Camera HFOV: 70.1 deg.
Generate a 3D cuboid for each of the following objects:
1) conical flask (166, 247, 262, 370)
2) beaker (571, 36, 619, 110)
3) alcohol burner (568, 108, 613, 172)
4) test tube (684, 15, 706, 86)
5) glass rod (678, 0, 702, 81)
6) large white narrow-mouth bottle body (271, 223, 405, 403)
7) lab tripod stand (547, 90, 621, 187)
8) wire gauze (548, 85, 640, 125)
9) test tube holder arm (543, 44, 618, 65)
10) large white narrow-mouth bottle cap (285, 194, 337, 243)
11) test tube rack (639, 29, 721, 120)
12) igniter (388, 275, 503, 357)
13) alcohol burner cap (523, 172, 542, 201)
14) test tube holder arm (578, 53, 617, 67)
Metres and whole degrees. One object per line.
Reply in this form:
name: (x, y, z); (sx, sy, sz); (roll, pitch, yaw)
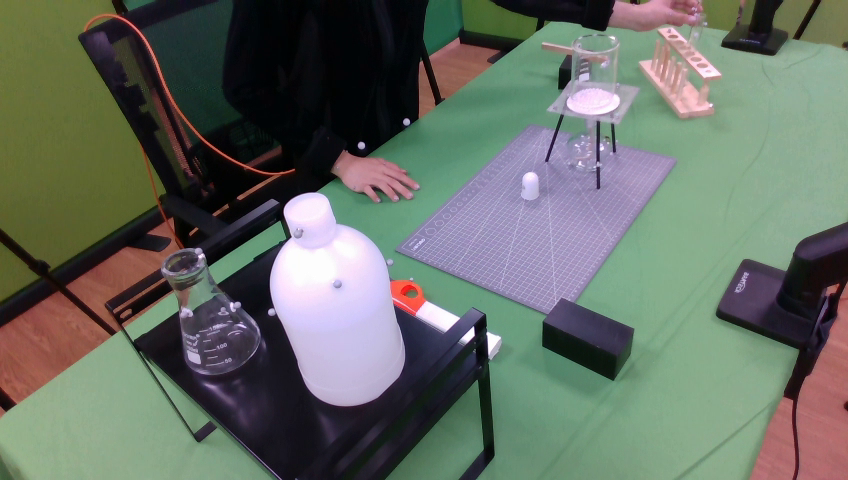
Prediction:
conical flask: (-0.209, 0.064, 0.585); (0.075, 0.122, 0.075); (-4, 41, 4)
beaker: (0.281, -0.273, 0.992); (0.084, 0.101, 0.073); (-24, 42, -16)
alcohol burner: (0.296, -0.182, 1.074); (0.078, 0.119, 0.077); (-5, 43, 5)
test tube: (0.541, -0.378, 1.215); (0.017, 0.151, 0.017); (-2, 44, 3)
glass rod: (0.543, -0.417, 1.233); (0.008, 0.200, 0.008); (1, 40, 0)
large white narrow-mouth bottle body: (-0.077, 0.048, 0.525); (0.102, 0.195, 0.101); (-5, 40, 5)
lab tripod stand: (0.289, -0.184, 1.062); (0.148, 0.132, 0.147); (-6, 41, 6)
wire gauze: (0.286, -0.233, 1.020); (0.124, 0.011, 0.122); (15, 43, 30)
test tube holder arm: (0.344, -0.412, 1.340); (0.177, 0.015, 0.013); (24, 49, 31)
large white narrow-mouth bottle cap: (-0.087, -0.017, 0.468); (0.038, 0.024, 0.037); (-5, 40, 4)
test tube rack: (0.527, -0.351, 1.262); (0.067, 0.085, 0.241); (-7, 40, 1)
igniter: (-0.008, 0.093, 0.870); (0.274, 0.025, 0.057); (24, 60, 33)
alcohol burner cap: (0.186, -0.096, 1.047); (0.034, 0.048, 0.033); (-6, 37, 5)
test tube holder arm: (0.375, -0.393, 1.314); (0.087, 0.015, 0.010); (25, 50, 32)
